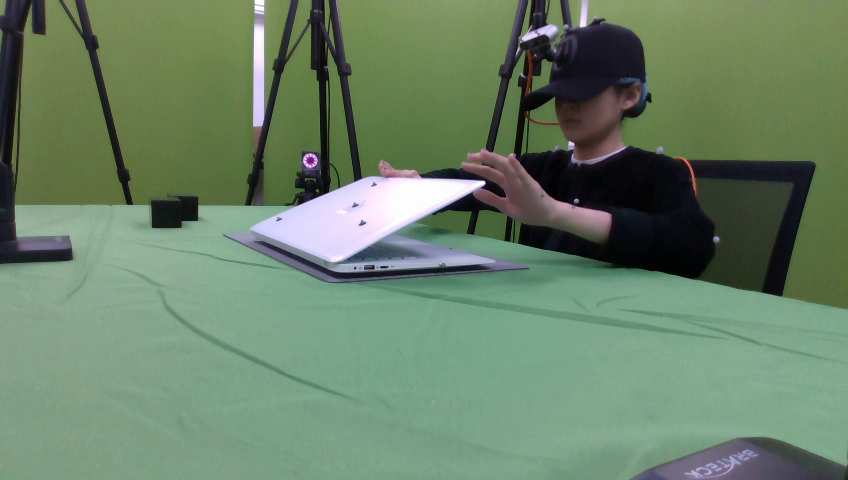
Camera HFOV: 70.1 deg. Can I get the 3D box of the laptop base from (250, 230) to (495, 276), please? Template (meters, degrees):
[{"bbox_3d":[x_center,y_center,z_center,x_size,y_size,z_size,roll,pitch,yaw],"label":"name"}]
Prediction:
[{"bbox_3d":[-0.093,0.016,0.884,0.237,0.023,0.352,2,6,-32],"label":"laptop base"}]

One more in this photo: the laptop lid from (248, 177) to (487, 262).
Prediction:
[{"bbox_3d":[-0.100,-0.044,0.870,0.242,0.013,0.355,-26,20,-25],"label":"laptop lid"}]
